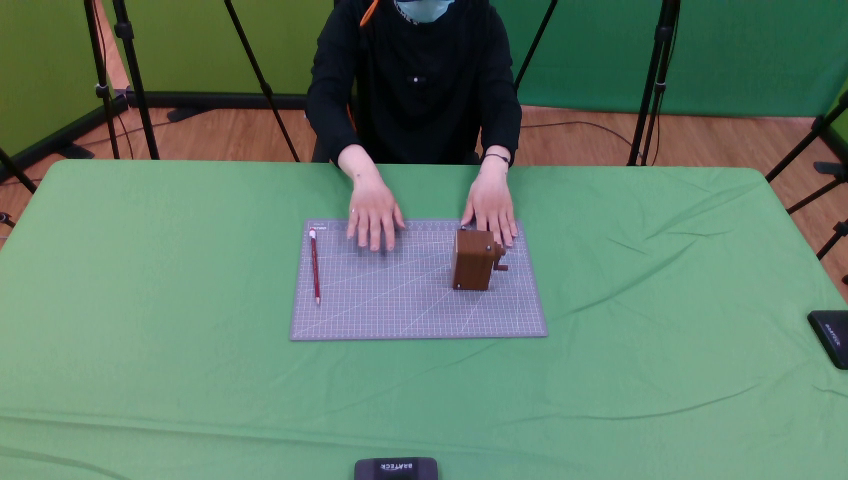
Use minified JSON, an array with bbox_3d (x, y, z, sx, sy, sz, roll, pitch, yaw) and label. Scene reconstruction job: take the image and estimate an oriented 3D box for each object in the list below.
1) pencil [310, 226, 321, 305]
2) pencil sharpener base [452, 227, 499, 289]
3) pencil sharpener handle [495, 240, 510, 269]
[{"bbox_3d":[-0.204,0.045,1.140,0.012,0.012,0.192,-6,49,-9],"label":"pencil"},{"bbox_3d":[0.093,0.035,1.102,0.077,0.107,0.061,3,46,-1],"label":"pencil sharpener base"},{"bbox_3d":[0.145,0.029,1.095,0.030,0.068,0.036,3,47,-1],"label":"pencil sharpener handle"}]
